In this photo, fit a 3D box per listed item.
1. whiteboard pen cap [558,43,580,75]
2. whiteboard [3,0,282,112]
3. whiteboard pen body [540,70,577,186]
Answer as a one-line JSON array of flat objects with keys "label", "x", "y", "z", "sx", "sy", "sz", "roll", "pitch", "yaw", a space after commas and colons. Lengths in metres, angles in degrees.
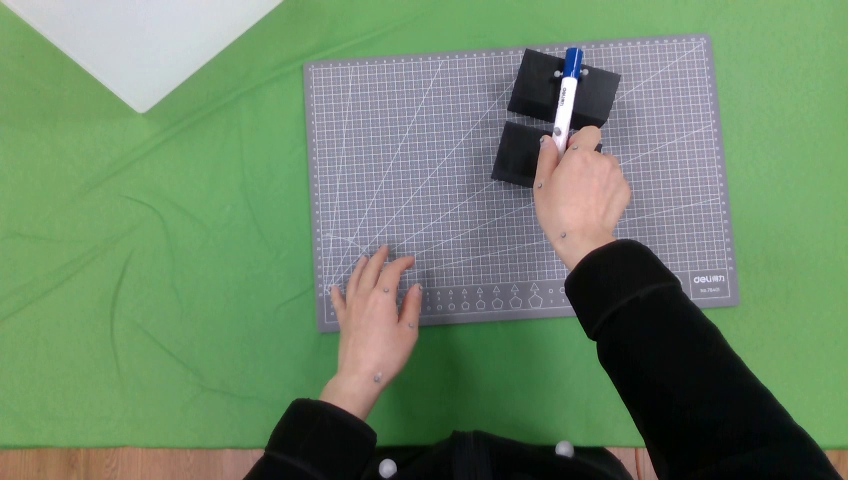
[{"label": "whiteboard pen cap", "x": 0.145, "y": -0.178, "z": 0.607, "sx": 0.018, "sy": 0.018, "sz": 0.033, "roll": 11, "pitch": 83, "yaw": 2}, {"label": "whiteboard", "x": -0.308, "y": -0.311, "z": 0.565, "sx": 0.217, "sy": 0.308, "sz": 0.142, "roll": -39, "pitch": 66, "yaw": -2}, {"label": "whiteboard pen body", "x": 0.135, "y": -0.121, "z": 0.600, "sx": 0.017, "sy": 0.017, "sz": 0.140, "roll": 13, "pitch": 83, "yaw": 2}]
